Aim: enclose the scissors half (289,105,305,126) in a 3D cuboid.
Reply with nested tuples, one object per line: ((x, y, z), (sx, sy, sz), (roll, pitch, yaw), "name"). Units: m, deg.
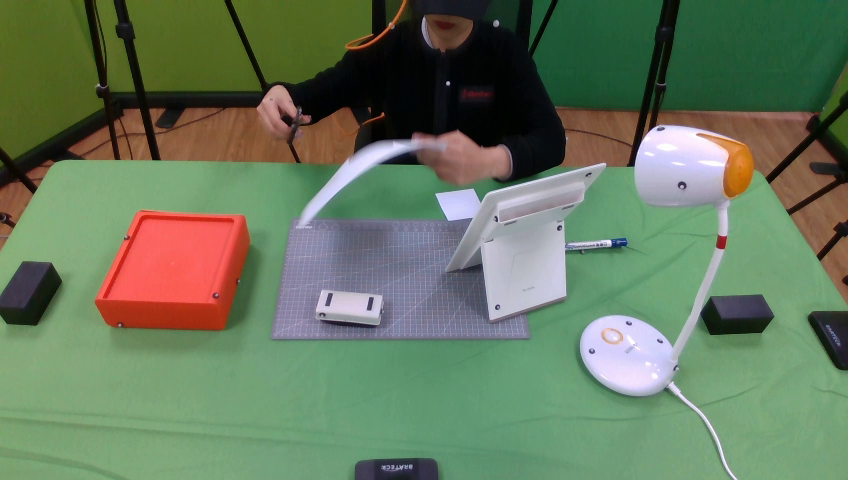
((-0.226, -0.221, 1.093), (0.013, 0.040, 0.174), (22, 8, -21), "scissors half")

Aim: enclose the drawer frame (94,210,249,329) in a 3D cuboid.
((-0.434, 0.048, 1.076), (0.202, 0.083, 0.212), (2, 47, -3), "drawer frame")

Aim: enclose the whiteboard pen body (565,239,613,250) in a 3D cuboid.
((0.331, 0.008, 1.211), (0.141, 0.017, 0.017), (-5, 47, -4), "whiteboard pen body")

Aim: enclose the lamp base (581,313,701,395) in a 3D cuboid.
((0.361, 0.144, 0.972), (0.178, 0.181, 0.160), (34, 53, 23), "lamp base")

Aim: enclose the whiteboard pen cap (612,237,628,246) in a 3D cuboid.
((0.390, 0.004, 1.215), (0.033, 0.018, 0.018), (-7, 47, -2), "whiteboard pen cap")

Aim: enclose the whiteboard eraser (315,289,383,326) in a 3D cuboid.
((-0.130, 0.119, 1.054), (0.113, 0.042, 0.055), (6, 47, 1), "whiteboard eraser")

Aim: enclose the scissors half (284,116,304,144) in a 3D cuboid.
((-0.233, -0.202, 1.093), (0.013, 0.175, 0.040), (16, 82, -21), "scissors half")

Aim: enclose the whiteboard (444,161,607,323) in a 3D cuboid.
((0.186, 0.025, 1.029), (0.217, 0.306, 0.143), (-14, 68, -18), "whiteboard")

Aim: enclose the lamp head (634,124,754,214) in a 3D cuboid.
((0.351, -0.089, 0.775), (0.112, 0.113, 0.122), (-30, 30, -28), "lamp head")

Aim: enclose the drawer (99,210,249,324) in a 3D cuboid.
((-0.435, 0.044, 1.081), (0.194, 0.073, 0.210), (3, 47, -2), "drawer")
